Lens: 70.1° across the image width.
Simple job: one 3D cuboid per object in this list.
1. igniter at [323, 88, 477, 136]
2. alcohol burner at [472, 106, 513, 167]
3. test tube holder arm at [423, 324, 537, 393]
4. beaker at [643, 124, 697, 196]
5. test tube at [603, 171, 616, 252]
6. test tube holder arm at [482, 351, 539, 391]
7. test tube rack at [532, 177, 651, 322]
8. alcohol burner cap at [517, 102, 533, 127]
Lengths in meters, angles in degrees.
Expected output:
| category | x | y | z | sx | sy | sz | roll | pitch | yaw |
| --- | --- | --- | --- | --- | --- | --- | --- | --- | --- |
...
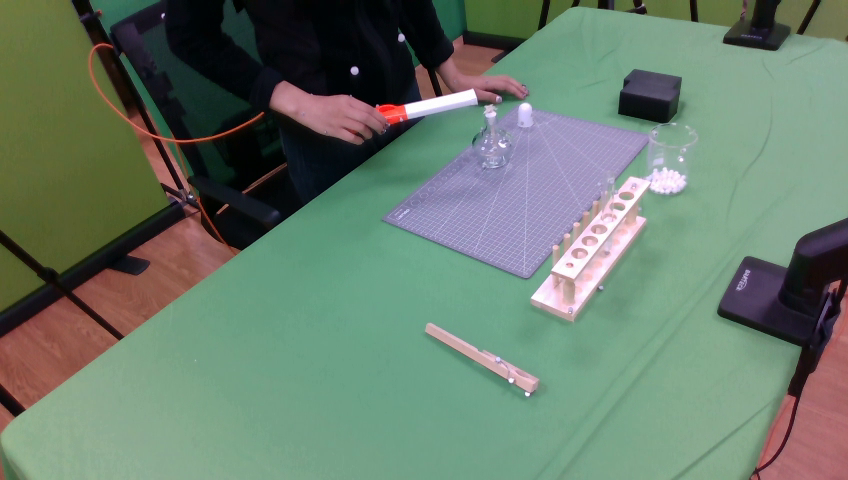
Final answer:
| category | x | y | z | sx | sy | sz | roll | pitch | yaw |
| --- | --- | --- | --- | --- | --- | --- | --- | --- | --- |
| igniter | -0.044 | -0.227 | 1.072 | 0.277 | 0.025 | 0.057 | -12 | 47 | 0 |
| alcohol burner | 0.125 | -0.195 | 1.111 | 0.078 | 0.119 | 0.077 | -5 | 42 | 5 |
| test tube holder arm | 0.069 | 0.151 | 0.789 | 0.177 | 0.015 | 0.013 | 23 | 15 | 33 |
| beaker | 0.407 | -0.132 | 1.001 | 0.084 | 0.101 | 0.073 | -20 | 42 | -13 |
| test tube | 0.259 | -0.036 | 0.848 | 0.017 | 0.151 | 0.017 | -8 | 46 | 9 |
| test tube holder arm | 0.106 | 0.166 | 0.769 | 0.087 | 0.015 | 0.010 | 24 | 16 | 34 |
| test tube rack | 0.247 | 0.002 | 0.883 | 0.066 | 0.085 | 0.243 | 22 | 49 | 32 |
| alcohol burner cap | 0.205 | -0.255 | 1.223 | 0.034 | 0.048 | 0.033 | -6 | 40 | 5 |
